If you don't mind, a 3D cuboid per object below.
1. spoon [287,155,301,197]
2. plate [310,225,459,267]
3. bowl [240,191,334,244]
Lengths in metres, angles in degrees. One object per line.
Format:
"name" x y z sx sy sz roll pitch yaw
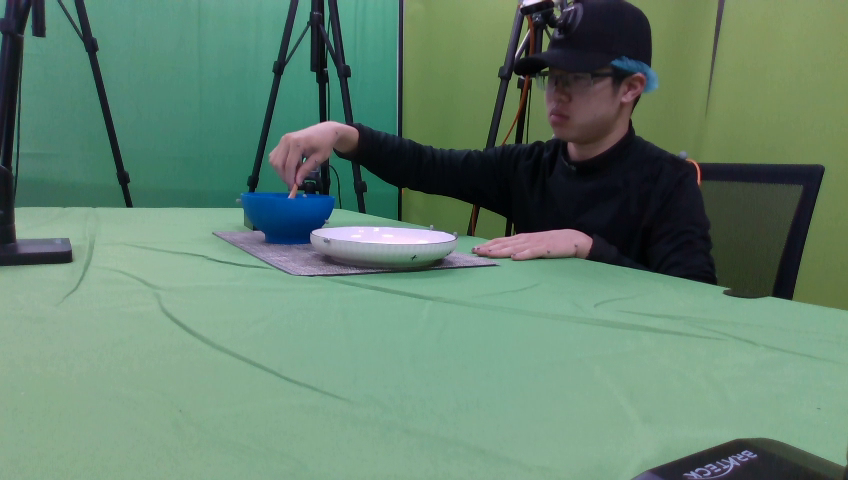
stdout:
"spoon" -0.227 -0.086 1.042 0.021 0.193 0.042 -27 -51 27
"plate" -0.055 0.008 0.851 0.208 0.039 0.207 2 7 0
"bowl" -0.223 -0.037 0.992 0.151 0.077 0.151 2 7 0
